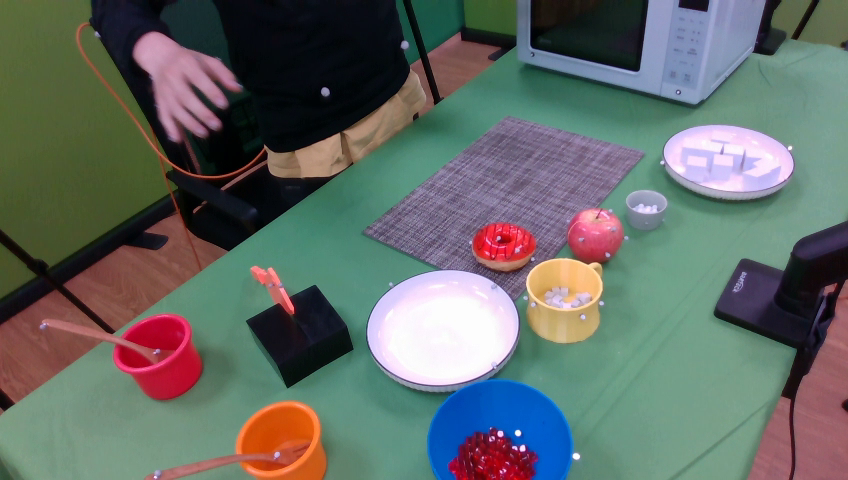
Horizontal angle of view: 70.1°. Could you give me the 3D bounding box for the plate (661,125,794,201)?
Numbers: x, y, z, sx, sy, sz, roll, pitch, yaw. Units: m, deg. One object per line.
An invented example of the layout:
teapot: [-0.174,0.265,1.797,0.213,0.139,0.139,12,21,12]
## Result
plate: [0.513,-0.128,1.035,0.207,0.039,0.206,-4,40,4]

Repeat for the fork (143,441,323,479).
fork: [-0.189,0.231,0.631,0.028,0.018,0.209,35,12,37]

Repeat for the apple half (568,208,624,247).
apple half: [0.259,-0.014,0.914,0.080,0.075,0.053,0,36,15]

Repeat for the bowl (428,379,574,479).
bowl: [0.082,0.233,0.644,0.151,0.077,0.150,-4,39,4]

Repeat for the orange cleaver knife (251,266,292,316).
orange cleaver knife: [-0.221,0.071,0.873,0.012,0.077,0.210,-25,11,-21]

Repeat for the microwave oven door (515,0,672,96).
microwave oven door: [0.343,-0.454,1.259,0.353,0.245,0.039,26,51,33]

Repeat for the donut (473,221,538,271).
donut: [0.124,0.008,0.923,0.099,0.048,0.098,-4,38,3]

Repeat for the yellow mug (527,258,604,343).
yellow mug: [0.201,0.073,0.825,0.131,0.064,0.099,-32,46,-27]

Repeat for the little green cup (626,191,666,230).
little green cup: [0.352,-0.046,0.963,0.061,0.039,0.061,-4,40,4]

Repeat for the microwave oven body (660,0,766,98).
microwave oven body: [0.472,-0.513,1.317,0.438,0.261,0.327,26,51,34]

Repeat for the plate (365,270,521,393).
plate: [0.027,0.123,0.813,0.209,0.038,0.208,-4,40,4]

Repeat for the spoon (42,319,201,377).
spoon: [-0.385,0.135,0.779,0.195,0.021,0.041,29,38,-26]

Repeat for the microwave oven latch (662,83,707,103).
microwave oven latch: [0.517,-0.296,1.204,0.078,0.029,0.030,27,52,35]

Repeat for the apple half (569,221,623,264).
apple half: [0.251,0.010,0.884,0.081,0.081,0.032,3,37,12]
